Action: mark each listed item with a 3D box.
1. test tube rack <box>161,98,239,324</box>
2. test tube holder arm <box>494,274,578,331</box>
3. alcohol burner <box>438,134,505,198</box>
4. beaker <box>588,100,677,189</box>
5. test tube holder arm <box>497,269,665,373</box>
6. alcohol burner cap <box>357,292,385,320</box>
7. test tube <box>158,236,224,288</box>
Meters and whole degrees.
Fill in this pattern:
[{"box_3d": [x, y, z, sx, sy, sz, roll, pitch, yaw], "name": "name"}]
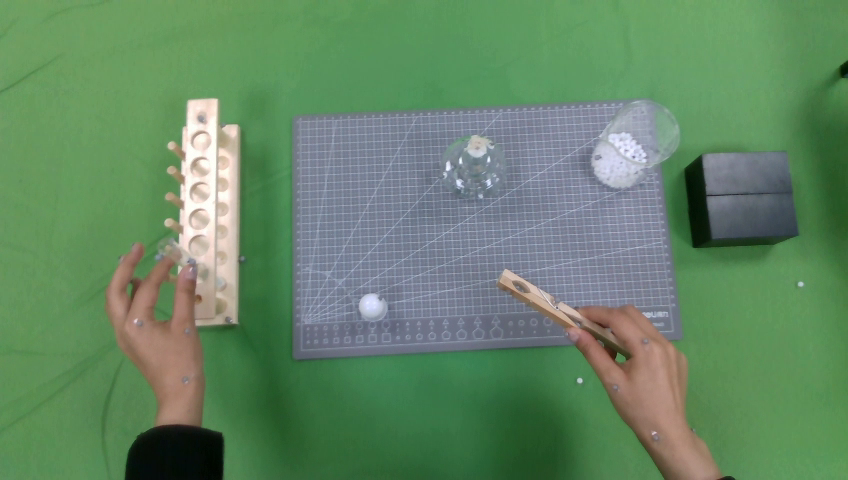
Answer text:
[{"box_3d": [-0.256, -0.030, 0.687, 0.067, 0.085, 0.241, -3, 79, -1], "name": "test tube rack"}, {"box_3d": [0.106, 0.059, 0.568, 0.088, 0.015, 0.010, 30, 69, -1], "name": "test tube holder arm"}, {"box_3d": [0.055, -0.089, 0.684, 0.078, 0.119, 0.077, 0, 79, 2], "name": "alcohol burner"}, {"box_3d": [0.232, -0.105, 0.696, 0.084, 0.100, 0.073, -4, 78, 0], "name": "beaker"}, {"box_3d": [0.148, 0.077, 0.572, 0.178, 0.015, 0.013, 29, 69, -1], "name": "test tube holder arm"}, {"box_3d": [-0.062, 0.073, 0.687, 0.034, 0.048, 0.033, 0, 79, -1], "name": "alcohol burner cap"}, {"box_3d": [-0.236, 0.026, 0.625, 0.017, 0.151, 0.017, 0, 72, 1], "name": "test tube"}]
